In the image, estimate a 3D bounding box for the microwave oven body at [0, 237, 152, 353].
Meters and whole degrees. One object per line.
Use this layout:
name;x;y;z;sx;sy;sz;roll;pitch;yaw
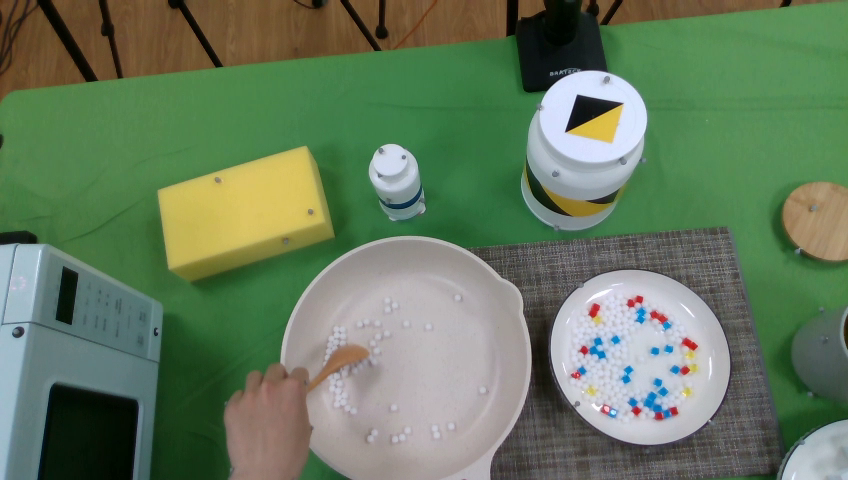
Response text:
microwave oven body;-0.498;0.250;0.627;0.326;0.262;0.438;-5;71;3

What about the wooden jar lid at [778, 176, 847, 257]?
wooden jar lid;0.507;-0.029;0.773;0.108;0.021;0.107;-1;73;5

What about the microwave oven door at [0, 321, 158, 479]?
microwave oven door;-0.352;0.277;0.600;0.039;0.245;0.353;-5;70;3

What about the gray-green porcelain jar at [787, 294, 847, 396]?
gray-green porcelain jar;0.477;0.116;0.669;0.106;0.127;0.105;-1;71;4

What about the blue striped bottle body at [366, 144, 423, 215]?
blue striped bottle body;-0.038;-0.082;0.781;0.063;0.121;0.062;-1;71;4

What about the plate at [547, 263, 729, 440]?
plate;0.250;0.131;0.726;0.209;0.038;0.207;-2;71;5

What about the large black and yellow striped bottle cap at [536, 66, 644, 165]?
large black and yellow striped bottle cap;0.180;-0.136;0.660;0.115;0.019;0.114;-1;73;4

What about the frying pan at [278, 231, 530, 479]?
frying pan;0.023;0.216;0.680;0.307;0.103;0.483;-27;63;-4

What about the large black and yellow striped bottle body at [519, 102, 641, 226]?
large black and yellow striped bottle body;0.187;-0.107;0.739;0.131;0.185;0.130;-1;70;4

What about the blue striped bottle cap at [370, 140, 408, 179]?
blue striped bottle cap;-0.042;-0.098;0.732;0.044;0.021;0.044;-2;68;6

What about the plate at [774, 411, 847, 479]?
plate;0.485;0.291;0.656;0.207;0.039;0.206;-1;71;5

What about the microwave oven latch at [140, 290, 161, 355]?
microwave oven latch;-0.352;0.104;0.767;0.030;0.030;0.078;-3;72;3

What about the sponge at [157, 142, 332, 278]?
sponge;-0.239;-0.040;0.814;0.207;0.061;0.117;-18;71;-2

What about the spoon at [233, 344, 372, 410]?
spoon;-0.131;0.154;0.688;0.021;0.194;0.041;-30;77;35
